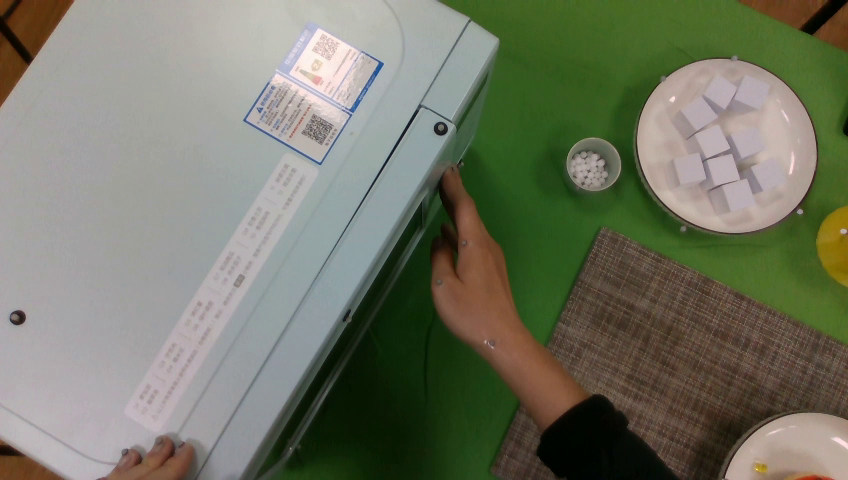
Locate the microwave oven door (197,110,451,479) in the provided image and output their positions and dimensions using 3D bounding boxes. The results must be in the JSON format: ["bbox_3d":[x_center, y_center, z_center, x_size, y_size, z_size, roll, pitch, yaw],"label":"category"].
[{"bbox_3d":[-0.082,0.072,0.545,0.039,0.244,0.355,30,83,4],"label":"microwave oven door"}]

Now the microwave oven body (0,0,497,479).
[{"bbox_3d":[-0.190,-0.037,0.562,0.326,0.260,0.441,30,83,3],"label":"microwave oven body"}]

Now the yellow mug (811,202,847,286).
[{"bbox_3d":[0.502,0.015,0.671,0.100,0.064,0.130,-10,83,-3],"label":"yellow mug"}]

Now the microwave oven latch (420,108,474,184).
[{"bbox_3d":[0.025,-0.103,0.672,0.030,0.029,0.079,33,84,3],"label":"microwave oven latch"}]

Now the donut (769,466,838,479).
[{"bbox_3d":[0.399,0.287,0.631,0.099,0.048,0.099,0,85,1],"label":"donut"}]

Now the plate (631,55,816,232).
[{"bbox_3d":[0.338,-0.109,0.699,0.208,0.039,0.207,0,82,-1],"label":"plate"}]

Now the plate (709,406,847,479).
[{"bbox_3d":[0.401,0.280,0.644,0.209,0.038,0.208,0,83,-1],"label":"plate"}]

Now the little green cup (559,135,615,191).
[{"bbox_3d":[0.183,-0.085,0.690,0.061,0.039,0.061,0,83,0],"label":"little green cup"}]
